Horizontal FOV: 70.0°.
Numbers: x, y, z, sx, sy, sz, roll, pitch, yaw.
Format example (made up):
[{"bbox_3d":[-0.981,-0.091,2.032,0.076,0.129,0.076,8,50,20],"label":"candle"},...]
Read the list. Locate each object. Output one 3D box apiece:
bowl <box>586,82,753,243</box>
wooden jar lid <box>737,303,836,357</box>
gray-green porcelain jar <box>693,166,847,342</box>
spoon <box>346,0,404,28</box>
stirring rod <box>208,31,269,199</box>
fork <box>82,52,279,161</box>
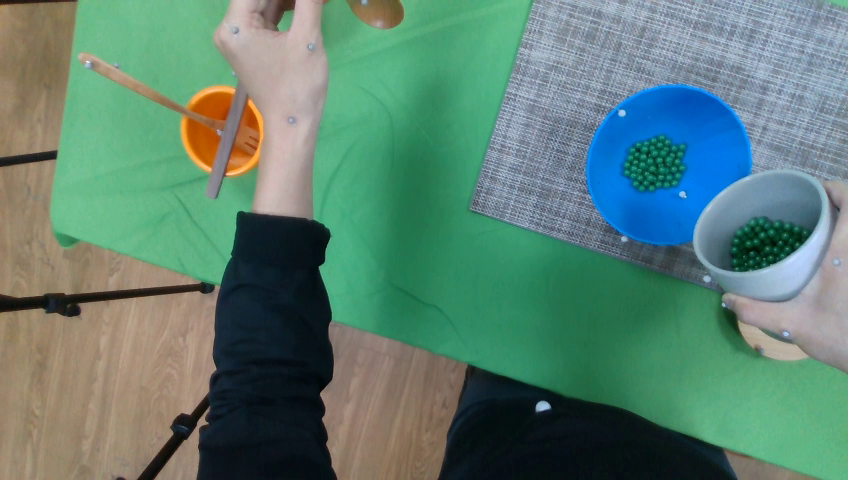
[{"bbox_3d":[0.235,-0.077,0.605,0.151,0.076,0.152,1,100,7],"label":"bowl"},{"bbox_3d":[0.389,0.071,0.644,0.108,0.020,0.109,3,106,9],"label":"wooden jar lid"},{"bbox_3d":[0.307,0.018,0.511,0.106,0.105,0.127,-44,118,13],"label":"gray-green porcelain jar"},{"bbox_3d":[-0.075,-0.203,0.474,0.041,0.194,0.021,-18,84,28],"label":"spoon"},{"bbox_3d":[-0.189,-0.124,0.614,0.014,0.006,0.176,22,102,4],"label":"stirring rod"},{"bbox_3d":[-0.241,-0.134,0.621,0.209,0.018,0.028,25,118,-43],"label":"fork"}]
